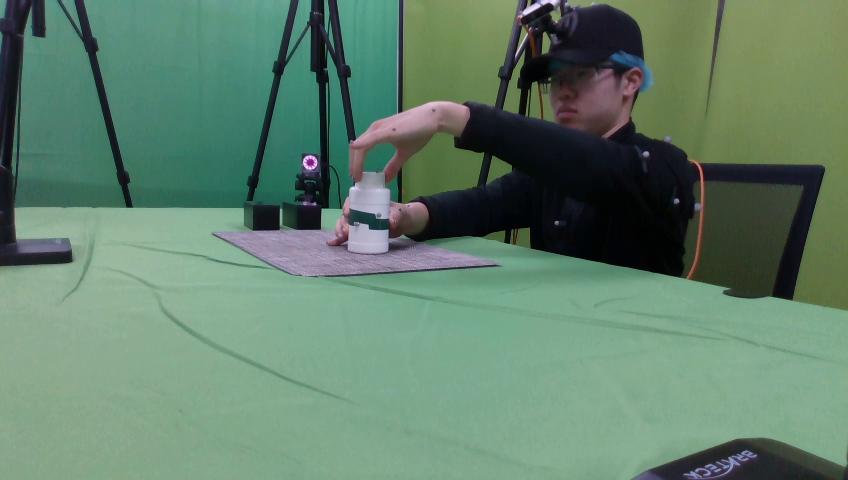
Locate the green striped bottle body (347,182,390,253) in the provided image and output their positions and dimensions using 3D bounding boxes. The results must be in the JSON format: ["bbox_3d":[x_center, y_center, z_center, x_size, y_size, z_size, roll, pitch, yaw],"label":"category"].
[{"bbox_3d":[-0.083,-0.042,0.913,0.063,0.119,0.063,3,7,0],"label":"green striped bottle body"}]

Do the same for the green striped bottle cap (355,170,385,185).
[{"bbox_3d":[-0.081,-0.093,0.906,0.044,0.020,0.044,6,1,0],"label":"green striped bottle cap"}]
